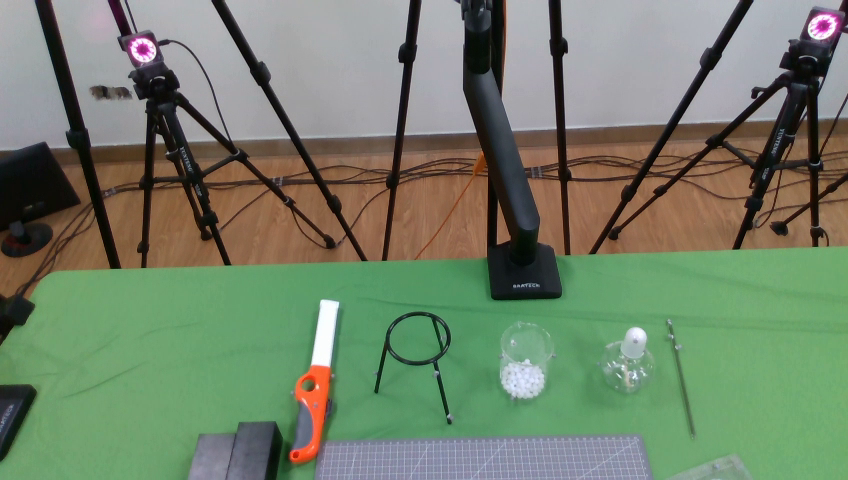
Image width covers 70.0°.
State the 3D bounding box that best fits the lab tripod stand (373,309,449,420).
[{"bbox_3d":[-0.007,0.170,0.869,0.148,0.133,0.147,-2,44,3],"label":"lab tripod stand"}]

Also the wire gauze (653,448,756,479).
[{"bbox_3d":[0.380,0.339,0.773,0.125,0.011,0.120,-16,47,-9],"label":"wire gauze"}]

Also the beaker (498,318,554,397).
[{"bbox_3d":[0.144,0.173,0.882,0.074,0.101,0.083,-8,46,-5],"label":"beaker"}]

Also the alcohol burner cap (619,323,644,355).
[{"bbox_3d":[0.293,0.136,0.849,0.034,0.048,0.033,-3,51,4],"label":"alcohol burner cap"}]

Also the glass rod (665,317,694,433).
[{"bbox_3d":[0.382,0.197,0.909,0.008,0.008,0.198,3,46,5],"label":"glass rod"}]

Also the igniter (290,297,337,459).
[{"bbox_3d":[-0.163,0.200,0.921,0.057,0.025,0.273,10,45,-9],"label":"igniter"}]

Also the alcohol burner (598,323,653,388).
[{"bbox_3d":[0.295,0.161,0.875,0.078,0.120,0.077,-1,44,2],"label":"alcohol burner"}]
